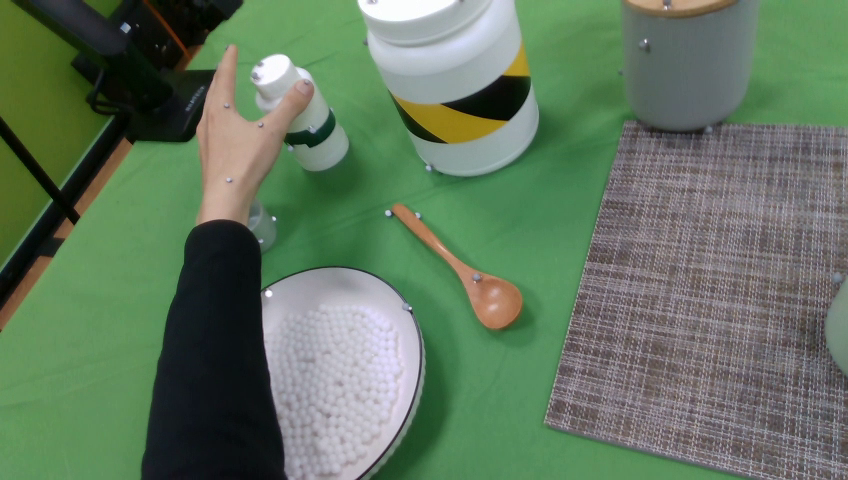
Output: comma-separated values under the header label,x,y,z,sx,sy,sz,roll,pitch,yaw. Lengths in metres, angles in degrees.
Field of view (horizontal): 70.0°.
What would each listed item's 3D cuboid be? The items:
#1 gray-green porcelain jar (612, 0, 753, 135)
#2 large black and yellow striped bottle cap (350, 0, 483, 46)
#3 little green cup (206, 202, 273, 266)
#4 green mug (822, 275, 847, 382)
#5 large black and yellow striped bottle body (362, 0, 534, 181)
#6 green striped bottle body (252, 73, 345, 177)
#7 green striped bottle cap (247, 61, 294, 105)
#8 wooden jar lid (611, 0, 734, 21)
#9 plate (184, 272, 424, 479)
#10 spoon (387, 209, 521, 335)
label,x,y,z,sx,sy,sz,roll,pitch,yaw
gray-green porcelain jar,0.218,-0.163,0.519,0.105,0.128,0.105,-10,50,13
large black and yellow striped bottle cap,-0.005,-0.202,0.492,0.115,0.019,0.114,-10,53,14
little green cup,-0.189,-0.005,0.627,0.061,0.039,0.061,-11,53,14
green mug,0.308,0.047,0.346,0.124,0.106,0.092,17,64,30
large black and yellow striped bottle body,0.022,-0.157,0.557,0.130,0.186,0.129,-10,54,15
green striped bottle body,-0.135,-0.126,0.639,0.063,0.120,0.062,-10,53,14
green striped bottle cap,-0.152,-0.156,0.599,0.044,0.020,0.044,-9,55,13
wooden jar lid,0.200,-0.201,0.472,0.108,0.021,0.107,-13,50,16
plate,-0.096,0.123,0.500,0.209,0.038,0.207,-10,53,14
spoon,0.019,0.018,0.539,0.041,0.022,0.191,-52,52,7
